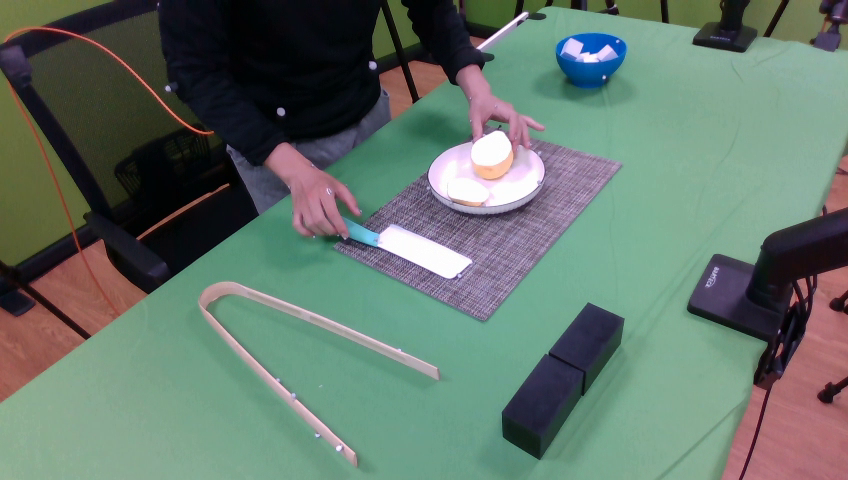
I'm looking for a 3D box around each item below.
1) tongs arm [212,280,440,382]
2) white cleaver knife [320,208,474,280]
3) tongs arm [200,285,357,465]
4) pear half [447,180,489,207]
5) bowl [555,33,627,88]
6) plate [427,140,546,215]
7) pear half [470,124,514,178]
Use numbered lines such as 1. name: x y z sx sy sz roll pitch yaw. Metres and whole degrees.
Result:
1. tongs arm: -0.147 0.121 0.846 0.385 0.028 0.028 17 48 25
2. white cleaver knife: -0.053 0.000 0.978 0.284 0.021 0.066 24 42 26
3. tongs arm: -0.199 0.162 0.797 0.381 0.026 0.051 28 50 35
4. pear half: 0.069 -0.072 1.016 0.070 0.031 0.088 29 35 33
5. bowl: 0.360 -0.384 1.318 0.151 0.077 0.150 -4 41 4
6. plate: 0.109 -0.107 1.058 0.207 0.039 0.206 -4 41 4
7. pear half: 0.127 -0.159 1.079 0.076 0.056 0.109 12 59 20
